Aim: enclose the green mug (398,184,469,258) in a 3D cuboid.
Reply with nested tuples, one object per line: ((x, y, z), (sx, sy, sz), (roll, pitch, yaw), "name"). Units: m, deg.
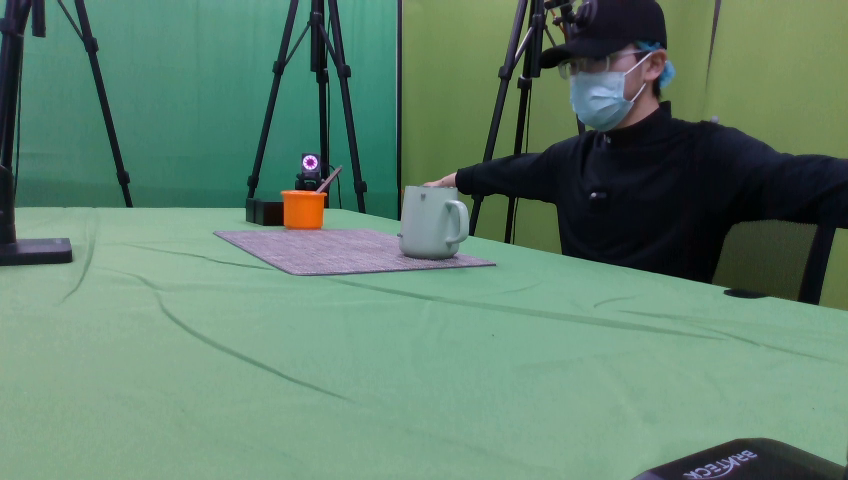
((0.020, -0.028, 0.890), (0.093, 0.105, 0.124), (-4, 9, -41), "green mug")

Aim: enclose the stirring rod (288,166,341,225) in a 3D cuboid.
((-0.222, -0.093, 1.238), (0.014, 0.006, 0.176), (5, 48, 41), "stirring rod")
